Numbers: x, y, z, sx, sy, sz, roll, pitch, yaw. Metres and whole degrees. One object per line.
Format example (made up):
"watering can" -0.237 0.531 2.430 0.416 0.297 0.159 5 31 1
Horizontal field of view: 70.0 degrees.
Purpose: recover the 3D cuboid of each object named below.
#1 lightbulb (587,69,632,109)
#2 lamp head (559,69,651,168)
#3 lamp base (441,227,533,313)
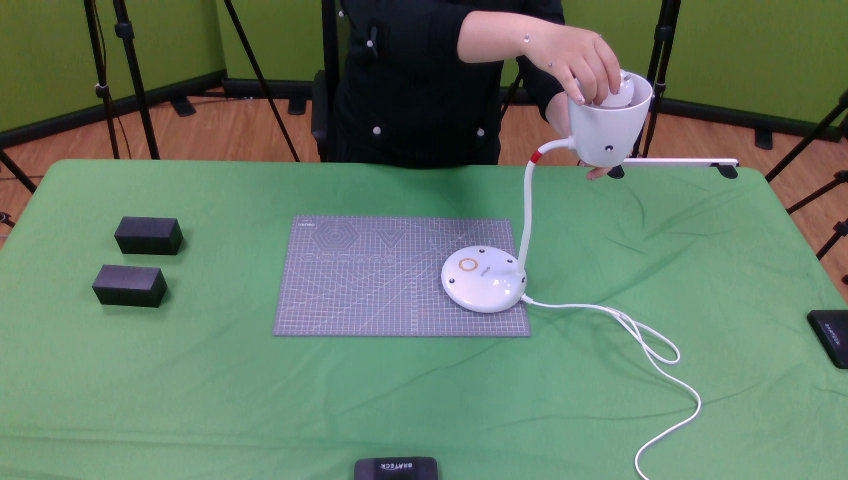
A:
"lightbulb" 0.256 -0.183 0.843 0.059 0.108 0.059 -4 31 2
"lamp head" 0.251 -0.164 0.860 0.112 0.123 0.111 0 42 0
"lamp base" 0.126 0.022 1.071 0.179 0.181 0.160 23 49 14
